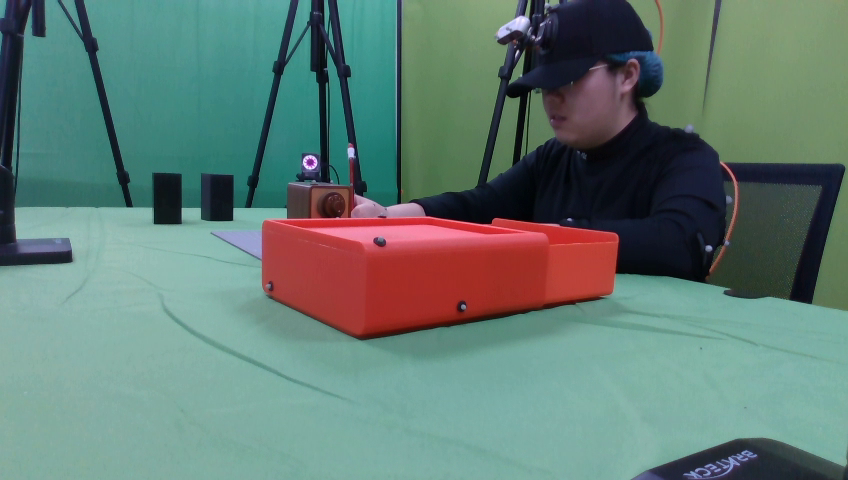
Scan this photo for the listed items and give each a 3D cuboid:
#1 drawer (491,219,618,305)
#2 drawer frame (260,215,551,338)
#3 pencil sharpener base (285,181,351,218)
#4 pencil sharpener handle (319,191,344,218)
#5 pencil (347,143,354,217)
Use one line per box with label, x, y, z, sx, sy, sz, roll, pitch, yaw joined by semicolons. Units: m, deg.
drawer;0.071;0.021;0.669;0.213;0.073;0.193;-3;9;-39
drawer frame;-0.021;0.024;0.595;0.215;0.082;0.200;-4;10;-38
pencil sharpener base;-0.139;-0.021;0.789;0.062;0.107;0.076;-2;9;-36
pencil sharpener handle;-0.107;-0.026;0.747;0.036;0.067;0.030;-5;11;-36
pencil;-0.127;-0.085;1.055;0.012;0.193;0.012;-4;-24;-1
